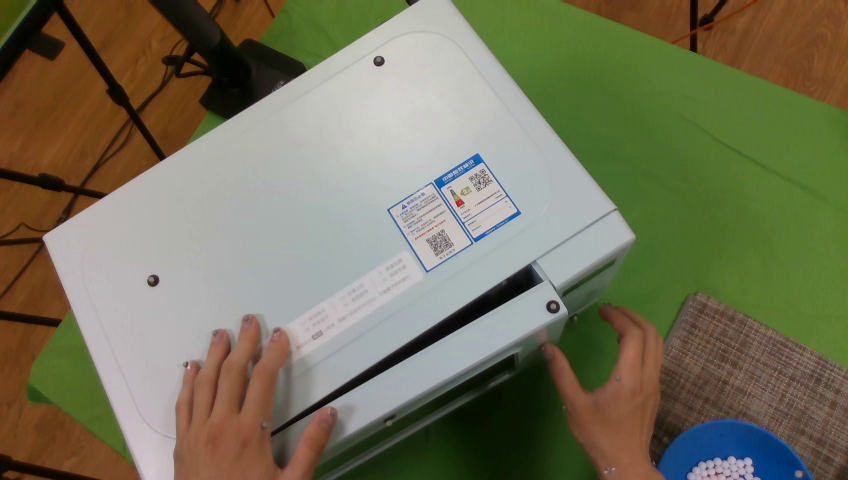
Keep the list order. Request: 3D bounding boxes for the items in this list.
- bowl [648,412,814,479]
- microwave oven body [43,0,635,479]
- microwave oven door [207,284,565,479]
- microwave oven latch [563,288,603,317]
[{"bbox_3d":[0.295,0.250,0.603,0.151,0.077,0.150,-2,73,8],"label":"bowl"},{"bbox_3d":[-0.077,0.017,0.634,0.442,0.262,0.323,-33,72,-1],"label":"microwave oven body"},{"bbox_3d":[-0.032,0.162,0.578,0.356,0.245,0.039,-30,70,-1],"label":"microwave oven door"},{"bbox_3d":[0.164,0.067,0.685,0.079,0.030,0.030,-32,72,-1],"label":"microwave oven latch"}]
